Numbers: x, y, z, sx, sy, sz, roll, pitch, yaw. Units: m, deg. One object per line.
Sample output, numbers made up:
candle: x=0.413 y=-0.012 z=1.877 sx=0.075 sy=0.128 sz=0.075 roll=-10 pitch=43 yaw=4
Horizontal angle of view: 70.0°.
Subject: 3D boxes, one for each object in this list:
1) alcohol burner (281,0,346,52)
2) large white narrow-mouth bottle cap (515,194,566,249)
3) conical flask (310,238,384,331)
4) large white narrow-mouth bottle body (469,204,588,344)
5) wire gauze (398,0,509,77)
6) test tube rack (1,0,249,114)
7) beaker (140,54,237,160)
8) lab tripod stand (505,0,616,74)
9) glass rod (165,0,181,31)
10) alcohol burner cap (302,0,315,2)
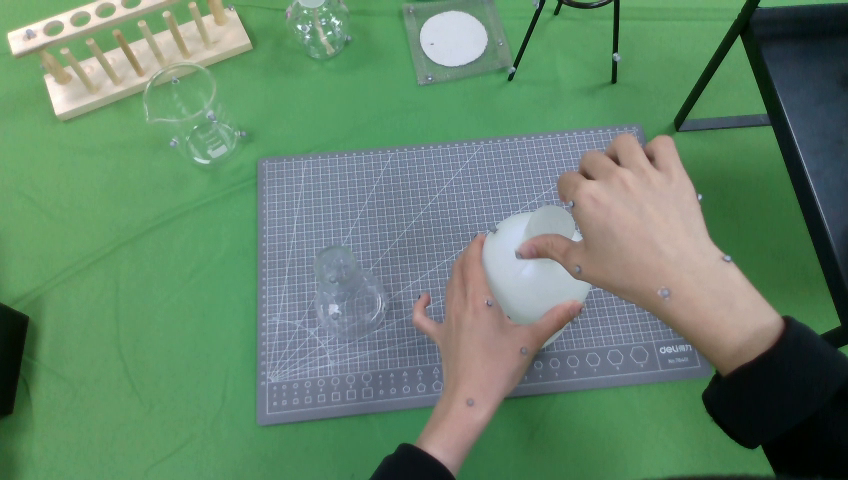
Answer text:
alcohol burner: x=-0.132 y=-0.281 z=0.713 sx=0.078 sy=0.120 sz=0.077 roll=0 pitch=66 yaw=-1
large white narrow-mouth bottle cap: x=0.088 y=-0.014 z=0.457 sx=0.038 sy=0.024 sz=0.037 roll=-1 pitch=67 yaw=2
conical flask: x=-0.079 y=0.037 z=0.576 sx=0.075 sy=0.122 sz=0.075 roll=0 pitch=67 yaw=1
large white narrow-mouth bottle body: x=0.093 y=0.025 z=0.544 sx=0.102 sy=0.196 sz=0.101 roll=-1 pitch=67 yaw=2
wire gauze: x=0.036 y=-0.266 z=0.764 sx=0.121 sy=0.011 sz=0.124 roll=-10 pitch=68 yaw=-5
test tube rack: x=-0.341 y=-0.242 z=0.712 sx=0.242 sy=0.086 sz=0.066 roll=-24 pitch=70 yaw=-10
beaker: x=-0.254 y=-0.138 z=0.663 sx=0.073 sy=0.101 sz=0.084 roll=39 pitch=73 yaw=15
lab tripod stand: x=0.167 y=-0.263 z=0.696 sx=0.148 sy=0.132 sz=0.147 roll=1 pitch=67 yaw=-1
glass rod: x=-0.297 y=-0.304 z=0.665 sx=0.008 sy=0.201 sz=0.008 roll=2 pitch=65 yaw=-4
alcohol burner cap: x=-0.132 y=-0.297 z=0.680 sx=0.034 sy=0.048 sz=0.033 roll=4 pitch=66 yaw=-8
